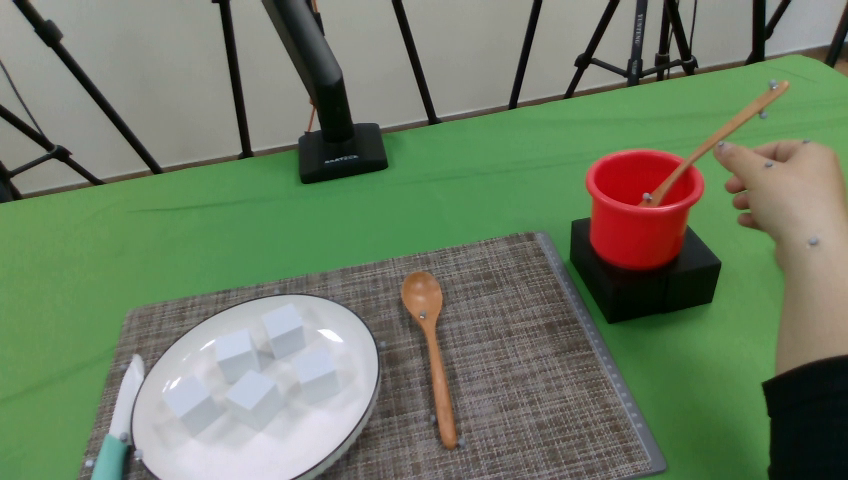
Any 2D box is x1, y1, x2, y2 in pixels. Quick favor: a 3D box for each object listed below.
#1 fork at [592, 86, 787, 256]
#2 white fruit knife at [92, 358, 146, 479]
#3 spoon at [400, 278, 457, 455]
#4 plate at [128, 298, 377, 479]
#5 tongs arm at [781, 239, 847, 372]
[{"bbox_3d":[0.232,-0.058,0.536,0.207,0.019,0.028,-47,28,19],"label":"fork"},{"bbox_3d":[-0.258,0.176,0.511,0.027,0.016,0.205,12,31,-22],"label":"white fruit knife"},{"bbox_3d":[0.007,0.104,0.546,0.042,0.022,0.191,4,36,-13],"label":"spoon"},{"bbox_3d":[-0.141,0.135,0.521,0.207,0.039,0.205,-4,39,4],"label":"plate"},{"bbox_3d":[0.359,0.128,0.459,0.028,0.028,0.384,-2,39,4],"label":"tongs arm"}]
